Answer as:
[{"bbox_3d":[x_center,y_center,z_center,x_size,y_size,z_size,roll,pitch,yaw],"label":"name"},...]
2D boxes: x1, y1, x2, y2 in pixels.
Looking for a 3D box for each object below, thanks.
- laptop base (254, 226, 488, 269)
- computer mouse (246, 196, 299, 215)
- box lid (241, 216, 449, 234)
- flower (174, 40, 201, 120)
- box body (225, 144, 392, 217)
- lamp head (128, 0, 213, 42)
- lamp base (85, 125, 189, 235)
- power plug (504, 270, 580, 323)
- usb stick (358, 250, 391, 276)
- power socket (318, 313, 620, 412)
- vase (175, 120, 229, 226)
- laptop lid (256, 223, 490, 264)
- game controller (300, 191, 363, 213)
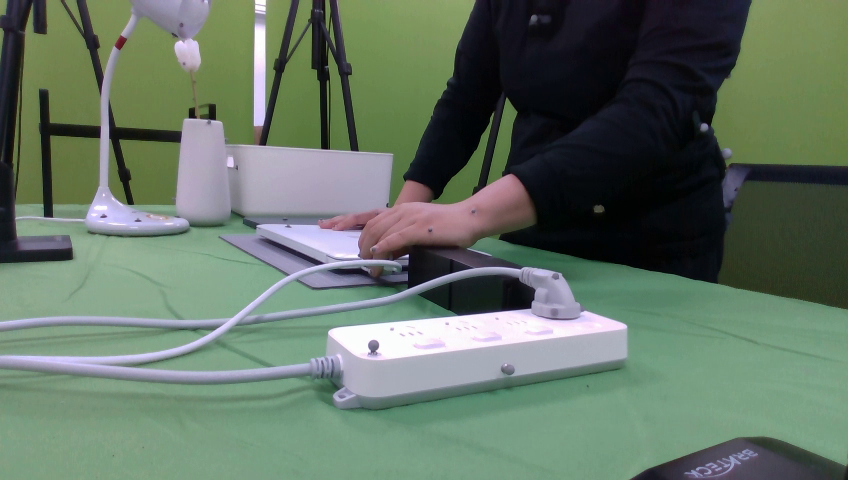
[{"bbox_3d":[-0.096,0.011,0.911,0.237,0.023,0.352,4,5,-32],"label":"laptop base"},{"bbox_3d":[-0.355,-0.082,1.417,0.117,0.041,0.063,1,9,7],"label":"computer mouse"},{"bbox_3d":[-0.162,-0.030,1.233,0.373,0.015,0.262,-1,8,-32],"label":"box lid"},{"bbox_3d":[-0.430,-0.211,1.165,0.044,0.361,0.038,-10,-5,-22],"label":"flower"},{"bbox_3d":[-0.289,-0.143,1.474,0.366,0.160,0.253,-1,9,-29],"label":"box body"},{"bbox_3d":[-0.423,-0.394,0.980,0.123,0.112,0.112,20,7,-3],"label":"lamp head"},{"bbox_3d":[-0.498,-0.105,1.026,0.179,0.180,0.160,1,7,3],"label":"lamp base"},{"bbox_3d":[0.092,0.051,0.469,0.035,0.052,0.072,-1,6,-15],"label":"power plug"},{"bbox_3d":[-0.062,0.026,0.709,0.021,0.027,0.059,-2,3,-31],"label":"usb stick"},{"bbox_3d":[0.037,0.076,0.408,0.228,0.032,0.072,-1,8,-29],"label":"power socket"},{"bbox_3d":[-0.425,-0.128,1.158,0.098,0.200,0.098,2,9,0],"label":"vase"},{"bbox_3d":[-0.093,0.002,0.911,0.243,0.013,0.355,3,6,-30],"label":"laptop lid"},{"bbox_3d":[-0.241,-0.098,1.550,0.155,0.051,0.097,2,10,5],"label":"game controller"}]
